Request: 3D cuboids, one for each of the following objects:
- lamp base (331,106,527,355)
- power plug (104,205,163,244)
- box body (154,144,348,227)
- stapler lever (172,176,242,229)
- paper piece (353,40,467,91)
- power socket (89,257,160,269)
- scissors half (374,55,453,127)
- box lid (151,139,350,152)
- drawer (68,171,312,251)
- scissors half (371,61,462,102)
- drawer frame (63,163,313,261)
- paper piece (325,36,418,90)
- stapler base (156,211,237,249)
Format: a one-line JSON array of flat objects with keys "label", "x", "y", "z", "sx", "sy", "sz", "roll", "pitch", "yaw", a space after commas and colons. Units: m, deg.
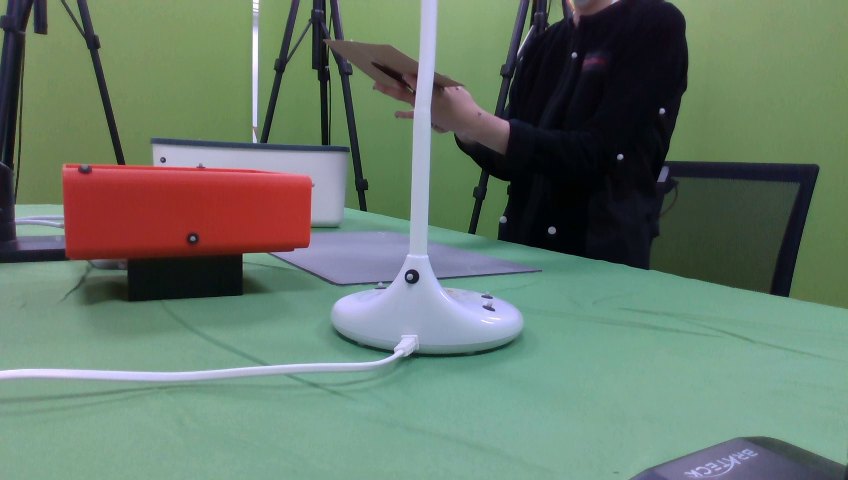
[{"label": "lamp base", "x": 0.006, "y": -0.012, "z": 0.478, "sx": 0.161, "sy": 0.180, "sz": 0.179, "roll": 2, "pitch": 10, "yaw": 2}, {"label": "power plug", "x": -0.390, "y": -0.021, "z": 0.815, "sx": 0.073, "sy": 0.052, "sz": 0.035, "roll": -1, "pitch": 7, "yaw": -27}, {"label": "box body", "x": -0.357, "y": -0.119, "z": 1.264, "sx": 0.365, "sy": 0.160, "sz": 0.253, "roll": 0, "pitch": 7, "yaw": -18}, {"label": "stapler lever", "x": -0.218, "y": -0.041, "z": 0.618, "sx": 0.027, "sy": 0.040, "sz": 0.118, "roll": 18, "pitch": 11, "yaw": -2}, {"label": "paper piece", "x": -0.023, "y": -0.251, "z": 0.872, "sx": 0.139, "sy": 0.008, "sz": 0.135, "roll": 23, "pitch": 7, "yaw": -33}, {"label": "power socket", "x": -0.409, "y": 0.004, "z": 0.793, "sx": 0.072, "sy": 0.032, "sz": 0.225, "roll": -2, "pitch": 8, "yaw": -38}, {"label": "scissors half", "x": -0.017, "y": -0.236, "z": 0.962, "sx": 0.176, "sy": 0.040, "sz": 0.012, "roll": 39, "pitch": -12, "yaw": -33}, {"label": "box lid", "x": -0.352, "y": -0.191, "z": 1.255, "sx": 0.373, "sy": 0.015, "sz": 0.262, "roll": 0, "pitch": 8, "yaw": -18}, {"label": "drawer", "x": -0.247, "y": -0.036, "z": 0.629, "sx": 0.213, "sy": 0.073, "sz": 0.193, "roll": -3, "pitch": 9, "yaw": -30}, {"label": "scissors half", "x": -0.009, "y": -0.257, "z": 0.964, "sx": 0.176, "sy": 0.040, "sz": 0.013, "roll": 7, "pitch": 1, "yaw": -36}, {"label": "drawer frame", "x": -0.248, "y": -0.036, "z": 0.626, "sx": 0.215, "sy": 0.082, "sz": 0.200, "roll": -3, "pitch": 9, "yaw": -31}, {"label": "paper piece", "x": -0.087, "y": -0.284, "z": 0.980, "sx": 0.136, "sy": 0.004, "sz": 0.134, "roll": 32, "pitch": -2, "yaw": -30}, {"label": "stapler base", "x": -0.227, "y": -0.017, "z": 0.624, "sx": 0.041, "sy": 0.024, "sz": 0.130, "roll": 18, "pitch": 10, "yaw": -2}]
